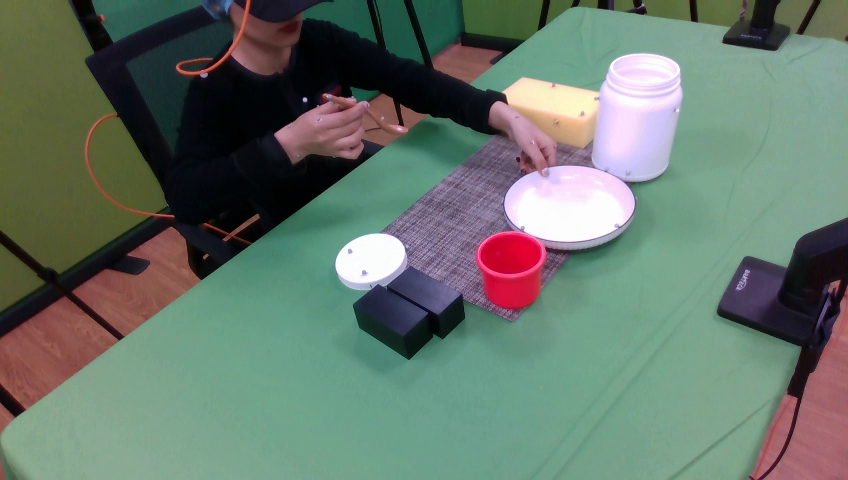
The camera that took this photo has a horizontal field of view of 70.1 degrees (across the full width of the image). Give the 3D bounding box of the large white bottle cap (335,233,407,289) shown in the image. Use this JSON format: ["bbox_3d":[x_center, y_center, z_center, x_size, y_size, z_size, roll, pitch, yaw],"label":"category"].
[{"bbox_3d":[-0.084,0.032,0.961,0.115,0.018,0.114,-6,41,6],"label":"large white bottle cap"}]

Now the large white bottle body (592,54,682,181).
[{"bbox_3d":[0.361,-0.208,1.027,0.130,0.185,0.130,-3,40,3],"label":"large white bottle body"}]

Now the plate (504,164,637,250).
[{"bbox_3d":[0.234,-0.051,0.981,0.209,0.038,0.208,-5,40,5],"label":"plate"}]

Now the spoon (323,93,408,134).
[{"bbox_3d":[-0.089,-0.196,0.938,0.041,0.195,0.021,31,98,34],"label":"spoon"}]

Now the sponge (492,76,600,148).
[{"bbox_3d":[0.254,-0.259,1.207,0.205,0.061,0.118,22,47,31],"label":"sponge"}]
